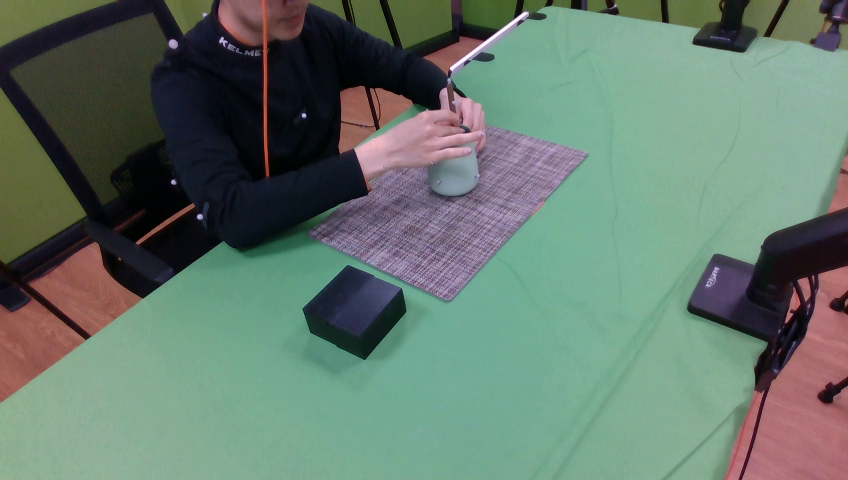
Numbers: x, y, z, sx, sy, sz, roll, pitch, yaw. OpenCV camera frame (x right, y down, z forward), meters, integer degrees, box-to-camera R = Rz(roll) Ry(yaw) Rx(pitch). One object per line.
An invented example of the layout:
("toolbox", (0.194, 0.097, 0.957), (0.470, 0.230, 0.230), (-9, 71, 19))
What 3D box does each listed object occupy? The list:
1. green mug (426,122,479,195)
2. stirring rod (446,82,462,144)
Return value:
("green mug", (0.053, -0.151, 1.067), (0.092, 0.105, 0.125), (5, 42, 15))
("stirring rod", (0.056, -0.182, 1.024), (0.006, 0.177, 0.014), (10, 40, 29))
